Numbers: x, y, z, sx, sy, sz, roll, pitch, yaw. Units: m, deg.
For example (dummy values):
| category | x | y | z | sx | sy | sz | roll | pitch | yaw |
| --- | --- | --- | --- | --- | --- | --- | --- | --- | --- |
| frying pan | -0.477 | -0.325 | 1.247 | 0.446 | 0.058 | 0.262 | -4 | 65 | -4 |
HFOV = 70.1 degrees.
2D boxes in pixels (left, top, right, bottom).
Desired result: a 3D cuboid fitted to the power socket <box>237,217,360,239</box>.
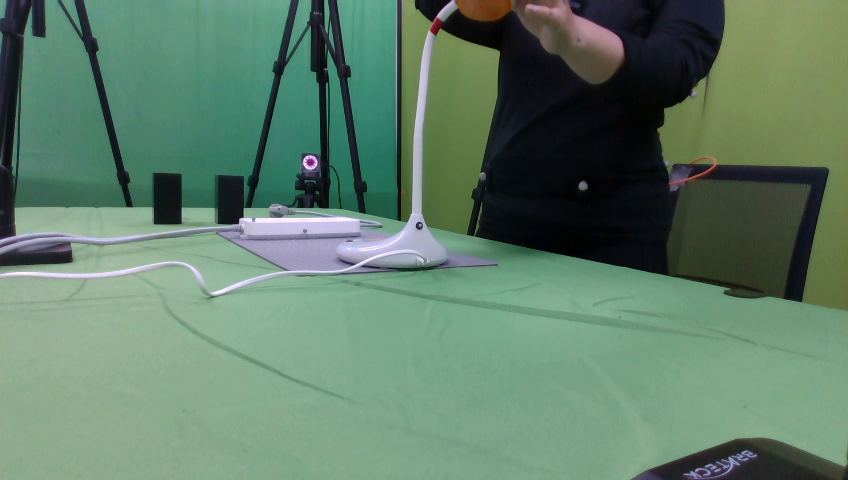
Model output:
| category | x | y | z | sx | sy | sz | roll | pitch | yaw |
| --- | --- | --- | --- | --- | --- | --- | --- | --- | --- |
| power socket | -0.221 | -0.023 | 1.080 | 0.228 | 0.032 | 0.072 | -2 | 8 | -32 |

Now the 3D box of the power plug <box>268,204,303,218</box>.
| category | x | y | z | sx | sy | sz | roll | pitch | yaw |
| --- | --- | --- | --- | --- | --- | --- | --- | --- | --- |
| power plug | -0.327 | -0.059 | 1.404 | 0.073 | 0.035 | 0.052 | 22 | -14 | -25 |

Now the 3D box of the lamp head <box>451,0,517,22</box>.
| category | x | y | z | sx | sy | sz | roll | pitch | yaw |
| --- | --- | --- | --- | --- | --- | --- | --- | --- | --- |
| lamp head | 0.070 | -0.318 | 0.702 | 0.112 | 0.122 | 0.112 | 7 | -2 | 1 |

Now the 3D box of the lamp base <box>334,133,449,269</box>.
| category | x | y | z | sx | sy | sz | roll | pitch | yaw |
| --- | --- | --- | --- | --- | --- | --- | --- | --- | --- |
| lamp base | -0.034 | -0.057 | 0.831 | 0.161 | 0.180 | 0.178 | -3 | 12 | -36 |
